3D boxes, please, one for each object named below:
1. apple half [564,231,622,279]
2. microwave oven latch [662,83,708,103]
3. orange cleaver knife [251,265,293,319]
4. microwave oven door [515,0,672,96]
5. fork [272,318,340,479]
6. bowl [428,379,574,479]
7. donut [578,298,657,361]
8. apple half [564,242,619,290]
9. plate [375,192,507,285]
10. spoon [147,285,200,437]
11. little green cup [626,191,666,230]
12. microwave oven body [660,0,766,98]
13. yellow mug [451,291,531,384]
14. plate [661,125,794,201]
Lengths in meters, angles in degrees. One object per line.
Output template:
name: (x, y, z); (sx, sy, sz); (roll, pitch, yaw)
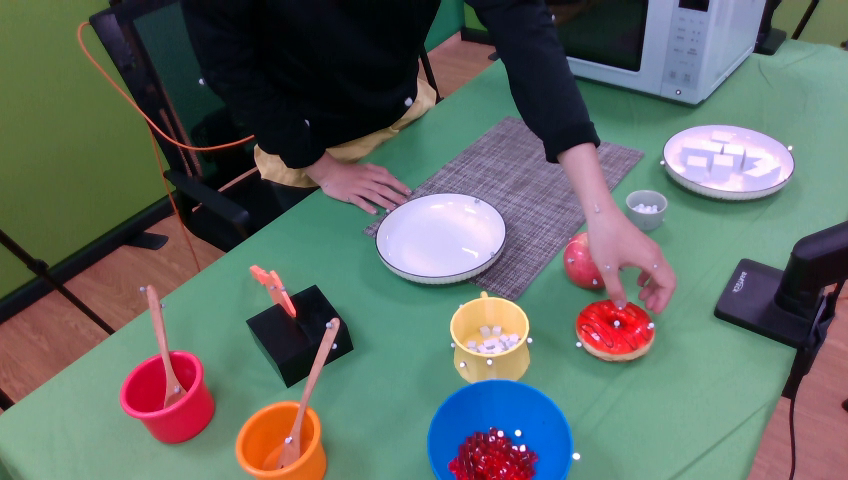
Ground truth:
apple half: (0.248, 0.021, 0.874); (0.080, 0.075, 0.053); (13, 40, 29)
microwave oven latch: (0.519, -0.297, 1.204); (0.030, 0.029, 0.078); (-36, 47, -29)
orange cleaver knife: (-0.221, 0.073, 0.876); (0.012, 0.077, 0.210); (-23, 12, -22)
microwave oven door: (0.344, -0.455, 1.259); (0.353, 0.245, 0.039); (26, 51, 33)
fork: (-0.131, 0.186, 0.676); (0.028, 0.019, 0.207); (18, 90, 28)
bowl: (0.082, 0.233, 0.644); (0.151, 0.077, 0.150); (-4, 39, 4)
donut: (0.250, 0.114, 0.786); (0.099, 0.048, 0.098); (-5, 37, 4)
apple half: (0.229, 0.044, 0.848); (0.081, 0.081, 0.033); (16, 41, 25)
plate: (0.028, 0.000, 0.952); (0.209, 0.038, 0.208); (-4, 40, 4)
spoon: (-0.318, 0.148, 0.754); (0.042, 0.021, 0.193); (-16, 86, -5)
little green cup: (0.352, -0.046, 0.963); (0.061, 0.039, 0.061); (-4, 40, 4)
microwave oven body: (0.472, -0.513, 1.317); (0.438, 0.261, 0.327); (26, 51, 34)
yellow mug: (0.086, 0.120, 0.786); (0.100, 0.064, 0.130); (-7, 39, 1)
plate: (0.514, -0.128, 1.035); (0.207, 0.039, 0.206); (-4, 40, 4)
